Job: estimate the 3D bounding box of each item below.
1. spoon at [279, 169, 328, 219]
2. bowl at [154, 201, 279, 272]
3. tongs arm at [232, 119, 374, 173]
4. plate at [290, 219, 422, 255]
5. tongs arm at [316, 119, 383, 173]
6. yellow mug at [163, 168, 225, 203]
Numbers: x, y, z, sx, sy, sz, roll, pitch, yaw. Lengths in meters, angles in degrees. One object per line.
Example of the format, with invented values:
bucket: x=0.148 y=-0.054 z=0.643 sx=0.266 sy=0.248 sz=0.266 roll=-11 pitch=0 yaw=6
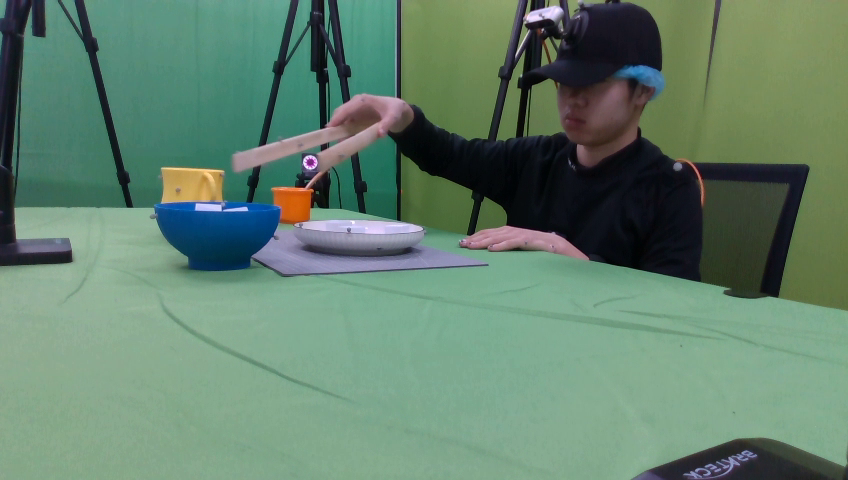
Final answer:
spoon: x=-0.262 y=-0.115 z=1.359 sx=0.041 sy=0.194 sz=0.022 roll=12 pitch=-33 yaw=38
bowl: x=-0.261 y=-0.005 z=0.770 sx=0.151 sy=0.077 sz=0.151 roll=3 pitch=8 yaw=0
tongs arm: x=-0.177 y=-0.160 z=0.984 sx=0.050 sy=0.026 sz=0.385 roll=1 pitch=18 yaw=18
plate: x=-0.108 y=-0.005 z=0.963 sx=0.208 sy=0.039 sz=0.207 roll=3 pitch=7 yaw=0
tongs arm: x=-0.111 y=-0.158 z=0.966 sx=0.028 sy=0.028 sz=0.387 roll=-5 pitch=17 yaw=11
yellow mug: x=-0.383 y=-0.087 z=1.026 sx=0.130 sy=0.064 sz=0.100 roll=11 pitch=11 yaw=44
